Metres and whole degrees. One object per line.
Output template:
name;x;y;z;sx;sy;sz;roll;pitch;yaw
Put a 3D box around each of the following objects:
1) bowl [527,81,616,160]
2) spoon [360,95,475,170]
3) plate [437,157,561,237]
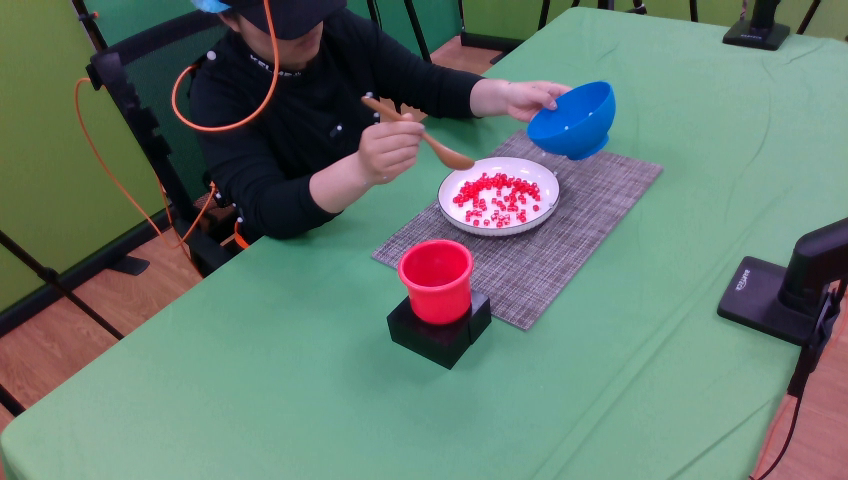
bowl;0.254;-0.184;0.993;0.151;0.077;0.151;-29;25;16
spoon;-0.007;-0.143;0.822;0.041;0.195;0.021;-17;49;52
plate;0.127;-0.069;1.023;0.207;0.039;0.206;-5;40;5
